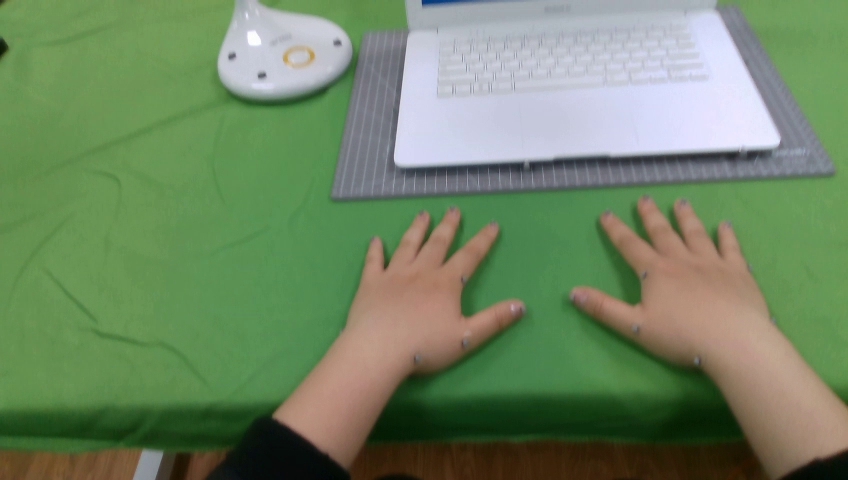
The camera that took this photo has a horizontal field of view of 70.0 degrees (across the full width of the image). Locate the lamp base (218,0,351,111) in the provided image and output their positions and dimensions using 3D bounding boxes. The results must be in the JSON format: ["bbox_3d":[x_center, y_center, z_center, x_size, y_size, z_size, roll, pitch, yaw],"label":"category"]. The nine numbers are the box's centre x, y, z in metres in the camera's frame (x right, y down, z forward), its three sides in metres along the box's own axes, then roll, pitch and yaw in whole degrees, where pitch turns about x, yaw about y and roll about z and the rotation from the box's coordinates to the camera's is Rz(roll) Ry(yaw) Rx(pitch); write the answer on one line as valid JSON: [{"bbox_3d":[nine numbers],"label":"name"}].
[{"bbox_3d":[-0.184,-0.263,0.678,0.177,0.182,0.160,29,57,33],"label":"lamp base"}]

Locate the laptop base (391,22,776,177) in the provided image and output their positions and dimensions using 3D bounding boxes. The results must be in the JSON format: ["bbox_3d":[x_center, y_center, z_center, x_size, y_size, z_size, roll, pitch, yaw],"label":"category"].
[{"bbox_3d":[0.149,-0.149,0.638,0.354,0.023,0.233,-2,50,6],"label":"laptop base"}]

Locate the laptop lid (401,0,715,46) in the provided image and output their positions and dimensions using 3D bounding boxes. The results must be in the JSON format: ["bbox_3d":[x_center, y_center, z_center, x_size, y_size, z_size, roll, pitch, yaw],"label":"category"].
[{"bbox_3d":[0.142,-0.328,0.642,0.356,0.244,0.013,-4,39,7],"label":"laptop lid"}]
